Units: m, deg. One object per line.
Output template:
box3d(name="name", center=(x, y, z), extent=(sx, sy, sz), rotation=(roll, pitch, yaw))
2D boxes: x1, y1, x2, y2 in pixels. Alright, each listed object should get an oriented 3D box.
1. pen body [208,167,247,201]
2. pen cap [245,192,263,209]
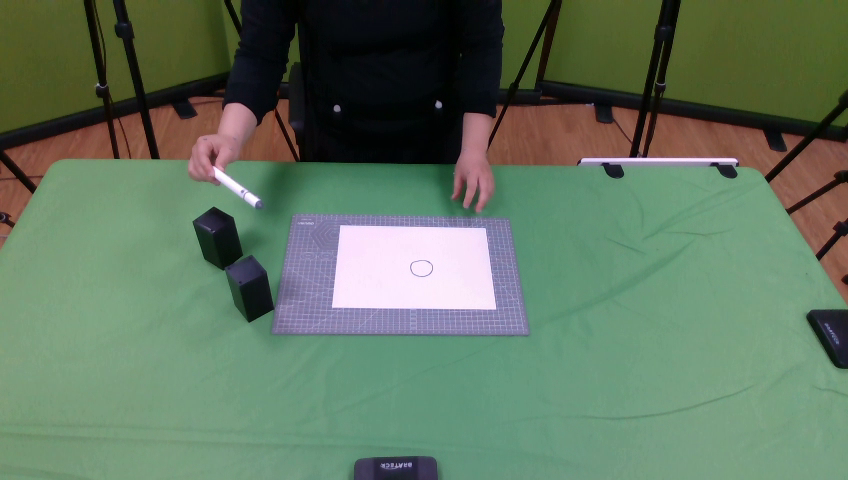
box3d(name="pen body", center=(-0.325, -0.091, 1.030), extent=(0.017, 0.017, 0.143), rotation=(-33, 48, -31))
box3d(name="pen cap", center=(-0.280, -0.064, 0.996), extent=(0.038, 0.017, 0.017), rotation=(31, 51, 34))
